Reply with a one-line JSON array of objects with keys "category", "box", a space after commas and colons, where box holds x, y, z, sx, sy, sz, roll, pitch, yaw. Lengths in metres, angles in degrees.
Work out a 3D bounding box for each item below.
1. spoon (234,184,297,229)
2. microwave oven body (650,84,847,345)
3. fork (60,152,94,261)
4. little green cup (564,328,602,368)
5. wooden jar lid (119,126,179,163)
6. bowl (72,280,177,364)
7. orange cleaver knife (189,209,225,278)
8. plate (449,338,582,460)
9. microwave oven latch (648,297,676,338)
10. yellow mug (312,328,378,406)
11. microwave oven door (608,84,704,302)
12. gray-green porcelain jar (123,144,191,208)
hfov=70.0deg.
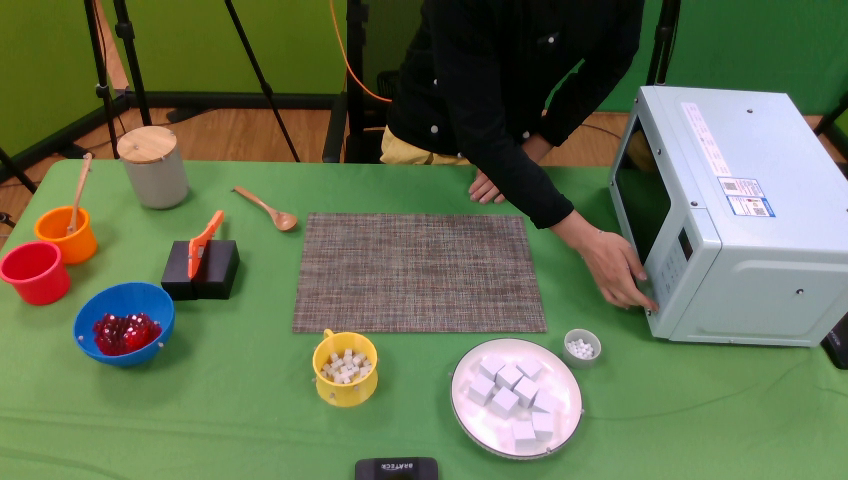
[{"category": "spoon", "box": [-0.327, -0.073, 1.240, 0.193, 0.022, 0.041, 34, 70, 25]}, {"category": "microwave oven body", "box": [0.569, -0.054, 1.116, 0.326, 0.261, 0.439, 2, 46, -1]}, {"category": "fork", "box": [-0.638, -0.063, 1.120, 0.028, 0.018, 0.207, 12, 90, 7]}, {"category": "little green cup", "box": [0.266, 0.185, 1.025, 0.061, 0.039, 0.061, 2, 45, -2]}, {"category": "wooden jar lid", "box": [-0.528, -0.181, 1.167, 0.108, 0.021, 0.107, 4, 47, -4]}, {"category": "bowl", "box": [-0.473, 0.147, 0.982, 0.151, 0.077, 0.150, 2, 46, -2]}, {"category": "orange cleaver knife", "box": [-0.401, 0.002, 1.122, 0.012, 0.077, 0.210, 4, 23, -4]}, {"category": "plate", "box": [0.141, 0.251, 0.955, 0.208, 0.039, 0.206, 2, 46, -2]}, {"category": "microwave oven latch", "box": [0.413, 0.133, 1.060, 0.030, 0.029, 0.078, 5, 46, 2]}, {"category": "yellow mug", "box": [-0.132, 0.193, 0.971, 0.100, 0.064, 0.130, -22, 51, -22]}, {"category": "microwave oven door", "box": [0.425, -0.096, 1.138, 0.039, 0.245, 0.353, 2, 47, -1]}, {"category": "gray-green porcelain jar", "box": [-0.531, -0.137, 1.214, 0.106, 0.127, 0.105, 2, 47, -2]}]
